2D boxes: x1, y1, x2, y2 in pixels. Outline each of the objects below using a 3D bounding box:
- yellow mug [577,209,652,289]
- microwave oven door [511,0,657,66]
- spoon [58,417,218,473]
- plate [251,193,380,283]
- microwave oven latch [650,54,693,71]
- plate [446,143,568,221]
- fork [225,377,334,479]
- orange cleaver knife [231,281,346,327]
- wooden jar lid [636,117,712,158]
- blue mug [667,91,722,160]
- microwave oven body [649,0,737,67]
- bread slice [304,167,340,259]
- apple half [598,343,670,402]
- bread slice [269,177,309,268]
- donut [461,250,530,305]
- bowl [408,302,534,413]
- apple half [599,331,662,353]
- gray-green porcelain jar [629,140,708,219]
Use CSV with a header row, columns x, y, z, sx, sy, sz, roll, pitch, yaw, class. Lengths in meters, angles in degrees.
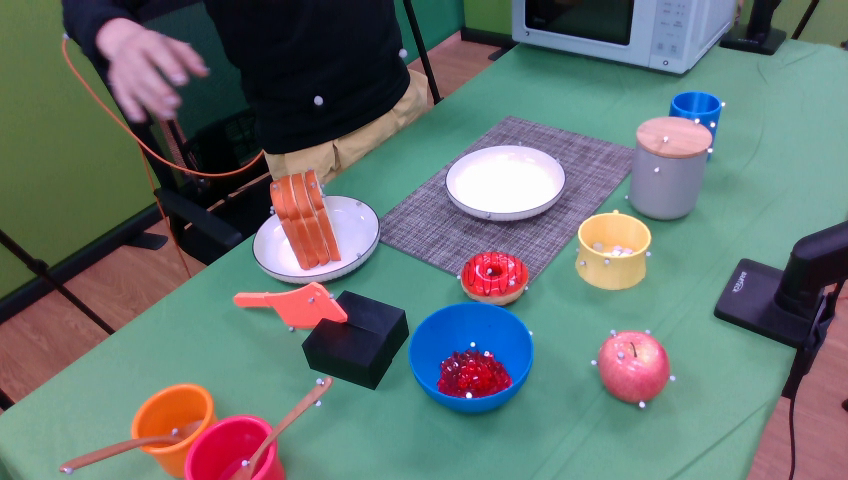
x,y,z,sx,sy,sz,roll,pitch,yaw,class
0.279,0.004,0.893,0.099,0.064,0.130,5,41,15,yellow mug
0.351,-0.540,1.349,0.353,0.245,0.039,24,50,31,microwave oven door
-0.304,0.221,0.661,0.041,0.195,0.021,19,92,27,spoon
-0.173,-0.001,0.985,0.209,0.038,0.208,-4,41,4,plate
0.531,-0.386,1.301,0.078,0.029,0.030,26,51,33,microwave oven latch
0.142,-0.097,1.045,0.207,0.039,0.206,-4,41,4,plate
-0.163,0.216,0.646,0.207,0.019,0.028,-49,42,16,fork
-0.192,0.093,0.844,0.210,0.077,0.012,-7,31,38,orange cleaver knife
0.377,-0.151,0.917,0.108,0.021,0.108,-2,41,3,wooden jar lid
0.474,-0.207,1.079,0.082,0.106,0.116,4,42,13,blue mug
0.475,-0.602,1.411,0.438,0.261,0.327,23,50,32,microwave oven body
-0.162,-0.046,0.952,0.018,0.135,0.106,-17,45,-7,bread slice
0.247,0.161,0.710,0.081,0.075,0.053,2,47,5,apple half
-0.212,-0.034,0.946,0.019,0.132,0.104,-18,39,-3,bread slice
0.103,0.053,0.872,0.099,0.048,0.098,-5,40,4,donut
0.060,0.156,0.739,0.151,0.077,0.150,-4,40,4,bowl
0.249,0.134,0.738,0.081,0.081,0.032,-2,46,7,apple half
0.383,-0.105,0.958,0.106,0.127,0.105,-4,41,4,gray-green porcelain jar
